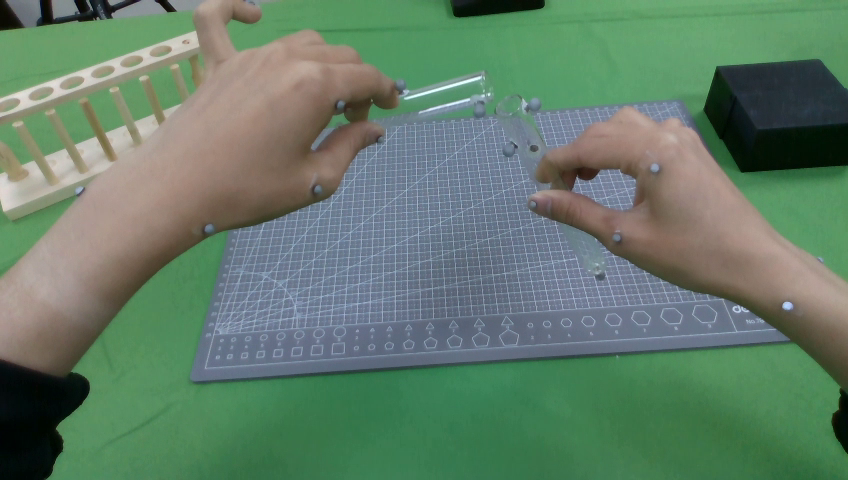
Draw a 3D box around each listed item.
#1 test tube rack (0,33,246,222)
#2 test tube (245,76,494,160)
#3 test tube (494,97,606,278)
[{"bbox_3d":[-0.314,-0.117,0.606,0.242,0.086,0.066,-28,51,-20],"label":"test tube rack"},{"bbox_3d":[-0.035,-0.063,0.324,0.150,0.017,0.017,-8,44,23],"label":"test tube"},{"bbox_3d":[0.077,-0.022,0.346,0.017,0.152,0.017,-20,45,22],"label":"test tube"}]
